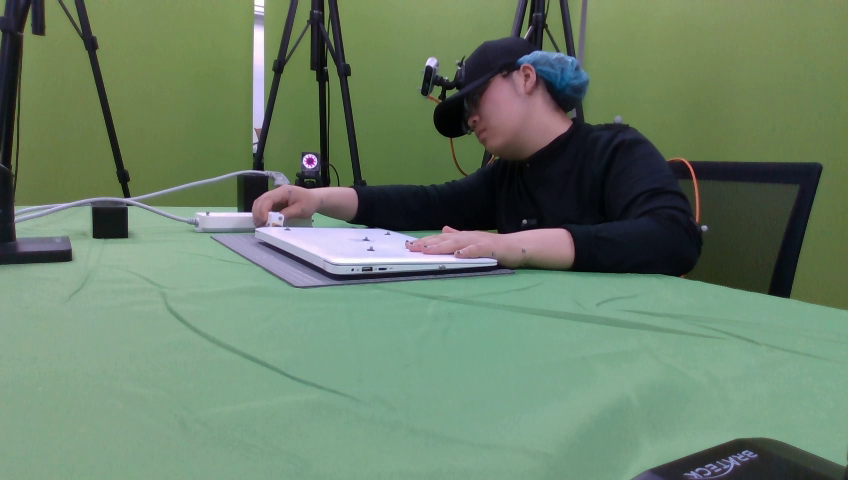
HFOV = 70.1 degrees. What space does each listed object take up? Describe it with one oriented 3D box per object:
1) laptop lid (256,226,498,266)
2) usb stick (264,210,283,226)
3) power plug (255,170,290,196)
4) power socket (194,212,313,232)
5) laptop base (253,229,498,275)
[{"bbox_3d":[-0.085,0.004,0.878,0.243,0.013,0.355,1,7,-29],"label":"laptop lid"},{"bbox_3d":[-0.254,-0.034,1.027,0.021,0.027,0.059,6,11,-26],"label":"usb stick"},{"bbox_3d":[-0.323,-0.120,1.285,0.073,0.052,0.035,2,-14,-13],"label":"power plug"},{"bbox_3d":[-0.322,-0.037,1.153,0.228,0.032,0.072,-2,8,-34],"label":"power socket"},{"bbox_3d":[-0.088,0.016,0.878,0.237,0.023,0.352,2,6,-31],"label":"laptop base"}]
